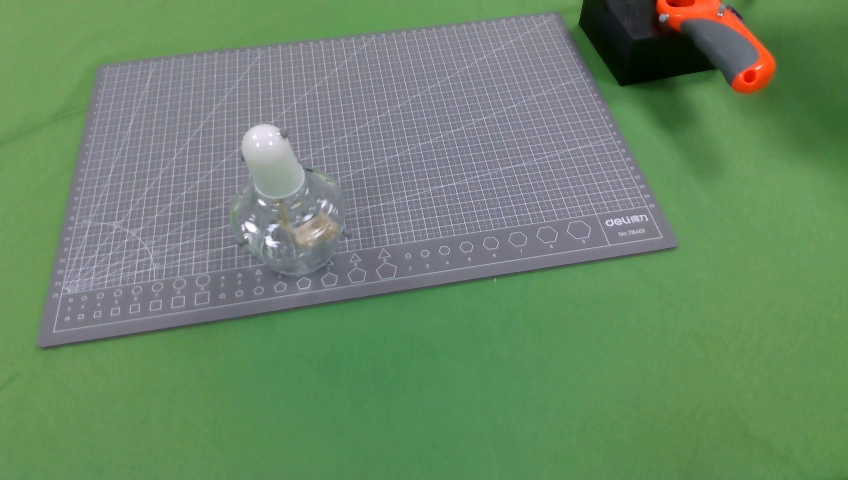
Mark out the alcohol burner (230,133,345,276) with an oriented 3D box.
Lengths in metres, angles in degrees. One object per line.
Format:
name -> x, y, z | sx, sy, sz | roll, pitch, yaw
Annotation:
alcohol burner -> -0.094, -0.028, 0.401 | 0.078, 0.120, 0.077 | -1, 56, 1

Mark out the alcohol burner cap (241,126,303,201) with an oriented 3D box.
alcohol burner cap -> -0.095, -0.050, 0.372 | 0.034, 0.048, 0.033 | -1, 57, 1

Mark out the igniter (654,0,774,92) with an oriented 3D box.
igniter -> 0.220, -0.219, 0.533 | 0.057, 0.025, 0.273 | -13, 53, -5
